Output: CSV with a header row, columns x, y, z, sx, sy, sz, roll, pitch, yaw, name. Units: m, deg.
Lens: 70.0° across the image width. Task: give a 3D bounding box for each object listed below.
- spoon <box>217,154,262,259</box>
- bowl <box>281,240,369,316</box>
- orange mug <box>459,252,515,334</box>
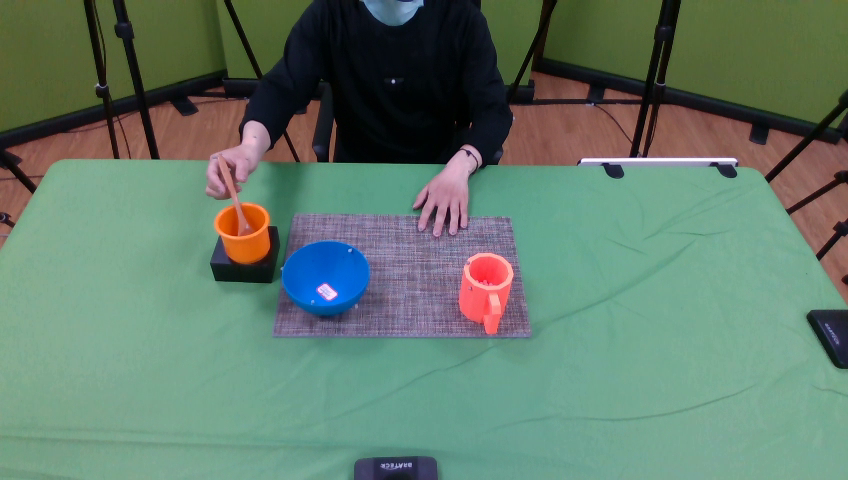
x,y,z,sx,sy,sz,roll,pitch,yaw,name
-0.330,-0.059,1.073,0.042,0.194,0.021,-18,5,-25,spoon
-0.170,0.080,1.062,0.151,0.077,0.150,2,46,-2,bowl
0.111,0.096,1.052,0.083,0.101,0.125,-4,42,-7,orange mug
